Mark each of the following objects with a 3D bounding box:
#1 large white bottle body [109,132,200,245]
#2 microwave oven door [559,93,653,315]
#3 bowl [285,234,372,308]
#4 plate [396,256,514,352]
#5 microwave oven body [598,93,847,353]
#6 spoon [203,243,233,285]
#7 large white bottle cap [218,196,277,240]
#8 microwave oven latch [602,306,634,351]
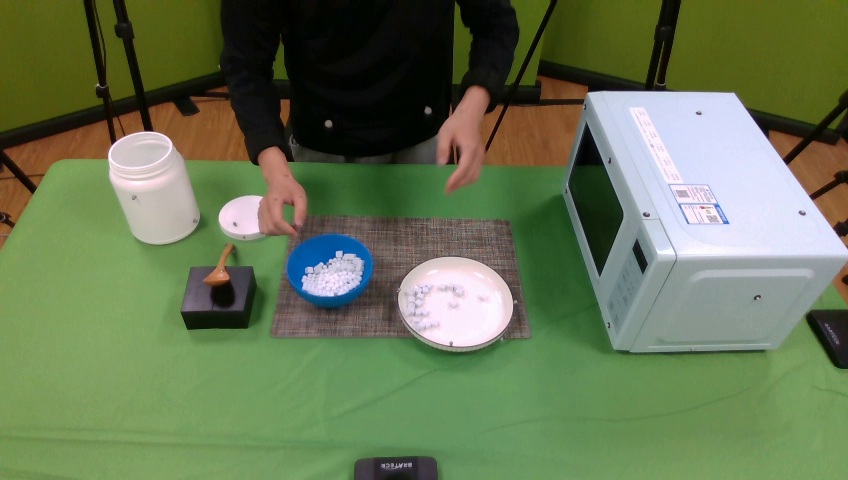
[{"bbox_3d":[-0.506,-0.097,1.141,0.131,0.185,0.130,2,46,-2],"label":"large white bottle body"},{"bbox_3d":[0.327,-0.074,1.123,0.039,0.245,0.353,-1,46,-5],"label":"microwave oven door"},{"bbox_3d":[-0.167,0.068,1.077,0.151,0.077,0.150,3,46,-2],"label":"bowl"},{"bbox_3d":[0.053,0.116,1.077,0.209,0.038,0.208,2,46,-2],"label":"plate"},{"bbox_3d":[0.475,-0.041,1.109,0.326,0.261,0.438,-1,45,-4],"label":"microwave oven body"},{"bbox_3d":[-0.360,0.039,1.087,0.041,0.022,0.192,-5,24,-6],"label":"spoon"},{"bbox_3d":[-0.355,-0.045,1.220,0.115,0.018,0.114,1,45,-1],"label":"large white bottle cap"},{"bbox_3d":[0.332,0.153,1.044,0.030,0.029,0.078,0,45,-4],"label":"microwave oven latch"}]
